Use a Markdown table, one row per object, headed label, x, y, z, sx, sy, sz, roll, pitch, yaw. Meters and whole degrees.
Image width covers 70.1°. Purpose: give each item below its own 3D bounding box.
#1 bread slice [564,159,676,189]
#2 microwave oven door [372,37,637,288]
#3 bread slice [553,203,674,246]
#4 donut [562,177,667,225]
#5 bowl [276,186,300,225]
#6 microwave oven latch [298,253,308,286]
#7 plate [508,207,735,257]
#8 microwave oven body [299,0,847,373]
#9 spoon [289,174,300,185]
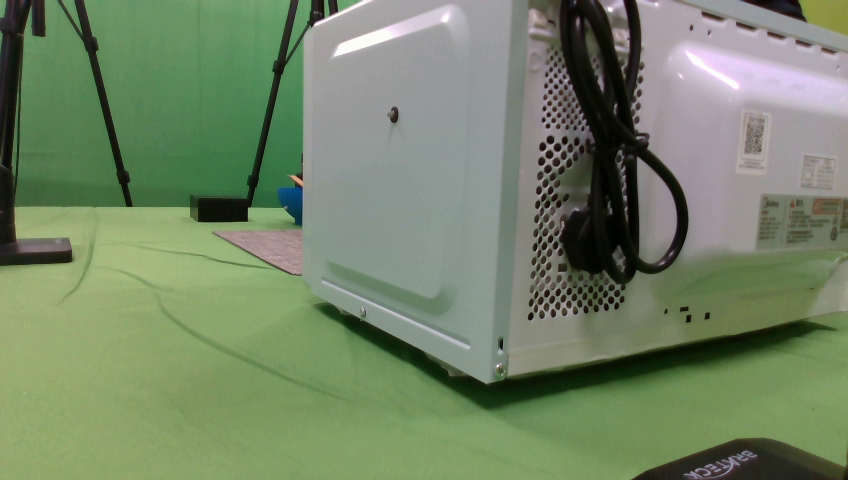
| label | x | y | z | sx | sy | sz | roll | pitch | yaw |
| --- | --- | --- | --- | --- | --- | --- | --- | --- | --- |
| bread slice | 0.188 | -0.063 | 0.577 | 0.104 | 0.019 | 0.132 | 8 | 6 | 16 |
| microwave oven door | 0.110 | -0.080 | 0.686 | 0.358 | 0.243 | 0.039 | -2 | 9 | -33 |
| bread slice | 0.183 | -0.016 | 0.579 | 0.107 | 0.018 | 0.134 | -4 | 10 | 8 |
| donut | 0.184 | -0.038 | 0.587 | 0.099 | 0.048 | 0.099 | -2 | 3 | 0 |
| bowl | -0.241 | -0.073 | 1.302 | 0.151 | 0.077 | 0.151 | 2 | 7 | 0 |
| microwave oven latch | -0.081 | 0.028 | 0.582 | 0.079 | 0.029 | 0.030 | -1 | 7 | -31 |
| plate | 0.186 | -0.010 | 0.588 | 0.208 | 0.039 | 0.207 | 1 | 5 | 0 |
| microwave oven body | 0.152 | -0.055 | 0.542 | 0.444 | 0.260 | 0.324 | -2 | 7 | -33 |
| spoon | -0.260 | -0.110 | 1.342 | 0.042 | 0.021 | 0.192 | -9 | 34 | -30 |
